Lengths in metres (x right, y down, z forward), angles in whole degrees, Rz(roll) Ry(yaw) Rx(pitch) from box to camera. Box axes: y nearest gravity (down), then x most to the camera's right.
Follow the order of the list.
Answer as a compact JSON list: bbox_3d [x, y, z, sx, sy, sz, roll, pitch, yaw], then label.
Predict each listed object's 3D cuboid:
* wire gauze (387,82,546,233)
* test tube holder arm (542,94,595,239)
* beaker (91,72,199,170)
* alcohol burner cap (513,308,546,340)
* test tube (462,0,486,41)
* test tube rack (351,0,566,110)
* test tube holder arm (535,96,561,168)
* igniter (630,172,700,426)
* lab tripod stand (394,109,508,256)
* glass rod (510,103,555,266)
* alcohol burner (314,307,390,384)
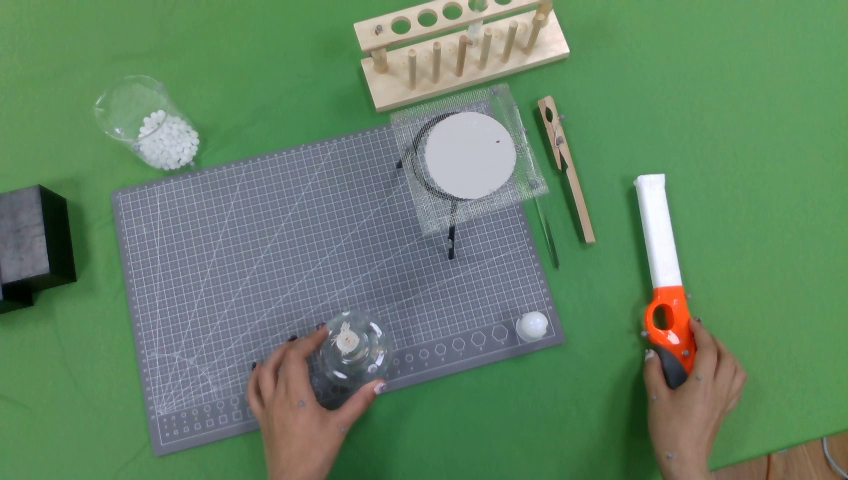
[{"bbox_3d":[0.038,-0.081,0.565,0.121,0.011,0.124,-17,77,-3],"label":"wire gauze"},{"bbox_3d":[0.165,-0.086,0.696,0.013,0.015,0.177,-23,76,29],"label":"test tube holder arm"},{"bbox_3d":[-0.299,-0.125,0.662,0.084,0.100,0.073,3,76,1],"label":"beaker"},{"bbox_3d":[0.114,0.087,0.643,0.034,0.048,0.033,0,75,-1],"label":"alcohol burner cap"},{"bbox_3d":[0.060,-0.261,0.653,0.017,0.151,0.017,2,74,-6],"label":"test tube"},{"bbox_3d":[0.046,-0.230,0.696,0.242,0.085,0.066,-17,77,-4],"label":"test tube rack"},{"bbox_3d":[0.148,-0.126,0.708,0.010,0.015,0.087,-22,77,30],"label":"test tube holder arm"},{"bbox_3d":[0.261,0.059,0.661,0.057,0.025,0.275,-4,78,-3],"label":"igniter"},{"bbox_3d":[0.027,-0.068,0.631,0.148,0.132,0.147,0,78,2],"label":"lab tripod stand"},{"bbox_3d":[0.125,-0.066,0.699,0.008,0.008,0.199,-12,80,-3],"label":"glass rod"},{"bbox_3d":[-0.074,0.103,0.601,0.078,0.119,0.077,0,75,1],"label":"alcohol burner"}]
